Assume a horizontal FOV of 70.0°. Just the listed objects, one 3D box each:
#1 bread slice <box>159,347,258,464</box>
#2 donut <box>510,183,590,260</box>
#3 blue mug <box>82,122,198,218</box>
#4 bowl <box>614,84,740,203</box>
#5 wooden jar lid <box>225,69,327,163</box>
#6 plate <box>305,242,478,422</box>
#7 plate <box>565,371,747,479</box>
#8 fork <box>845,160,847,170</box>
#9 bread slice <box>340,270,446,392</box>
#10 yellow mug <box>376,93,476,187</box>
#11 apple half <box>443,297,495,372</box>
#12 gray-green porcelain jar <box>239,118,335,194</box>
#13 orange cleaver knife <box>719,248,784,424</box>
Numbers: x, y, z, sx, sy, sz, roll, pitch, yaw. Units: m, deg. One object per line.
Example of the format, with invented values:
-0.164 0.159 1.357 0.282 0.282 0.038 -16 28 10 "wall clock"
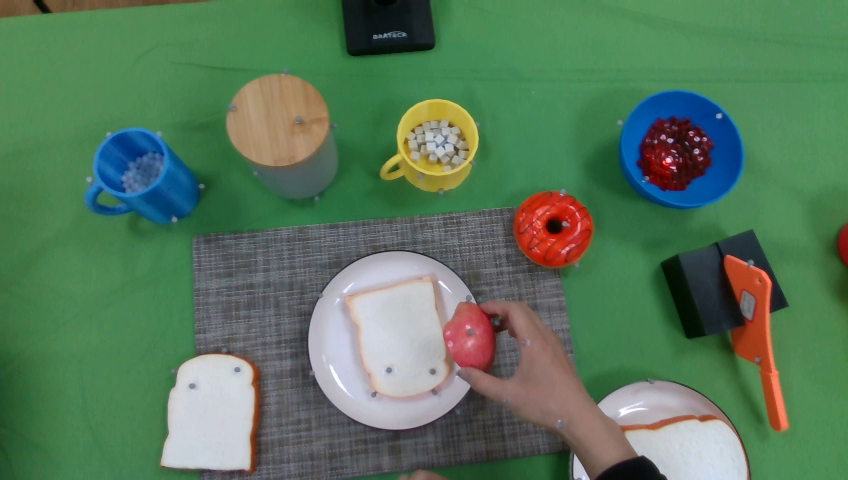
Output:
-0.246 0.190 0.697 0.105 0.019 0.131 2 78 -3 "bread slice"
0.156 -0.023 0.751 0.099 0.048 0.098 1 78 -3 "donut"
-0.338 -0.070 0.709 0.116 0.106 0.082 -31 80 -9 "blue mug"
0.305 -0.110 0.764 0.151 0.077 0.150 1 78 -2 "bowl"
-0.159 -0.132 0.657 0.108 0.021 0.108 1 75 -2 "wooden jar lid"
-0.035 0.107 0.715 0.208 0.039 0.206 1 77 -2 "plate"
0.263 0.257 0.700 0.209 0.038 0.208 1 77 -2 "plate"
0.537 -0.038 0.723 0.209 0.018 0.028 35 73 -37 "fork"
-0.029 0.110 0.716 0.107 0.018 0.133 -17 78 -5 "bread slice"
-0.002 -0.117 0.757 0.131 0.064 0.099 -29 80 -8 "yellow mug"
0.057 0.096 0.632 0.032 0.082 0.081 -22 75 35 "apple half"
-0.161 -0.117 0.718 0.106 0.127 0.105 1 77 -2 "gray-green porcelain jar"
0.385 0.113 0.716 0.012 0.077 0.212 -17 100 -13 "orange cleaver knife"
